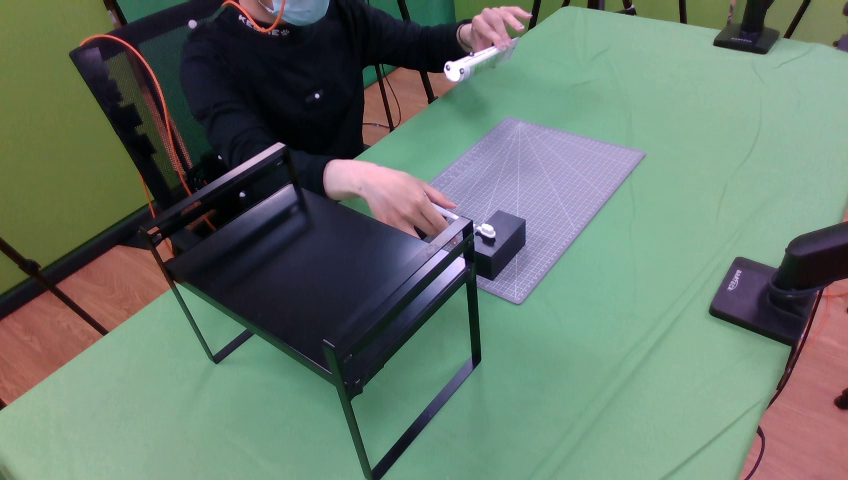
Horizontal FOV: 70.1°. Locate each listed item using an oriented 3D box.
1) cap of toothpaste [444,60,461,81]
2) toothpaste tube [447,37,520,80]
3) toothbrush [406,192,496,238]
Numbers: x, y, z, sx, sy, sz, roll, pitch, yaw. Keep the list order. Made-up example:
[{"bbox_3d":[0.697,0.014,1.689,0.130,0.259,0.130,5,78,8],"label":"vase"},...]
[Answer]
[{"bbox_3d":[0.047,-0.287,1.027,0.011,0.037,0.037,-15,27,46],"label":"cap of toothpaste"},{"bbox_3d":[0.106,-0.324,1.087,0.166,0.055,0.034,-30,78,-29],"label":"toothpaste tube"},{"bbox_3d":[0.038,-0.043,0.936,0.180,0.017,0.014,26,60,34],"label":"toothbrush"}]
